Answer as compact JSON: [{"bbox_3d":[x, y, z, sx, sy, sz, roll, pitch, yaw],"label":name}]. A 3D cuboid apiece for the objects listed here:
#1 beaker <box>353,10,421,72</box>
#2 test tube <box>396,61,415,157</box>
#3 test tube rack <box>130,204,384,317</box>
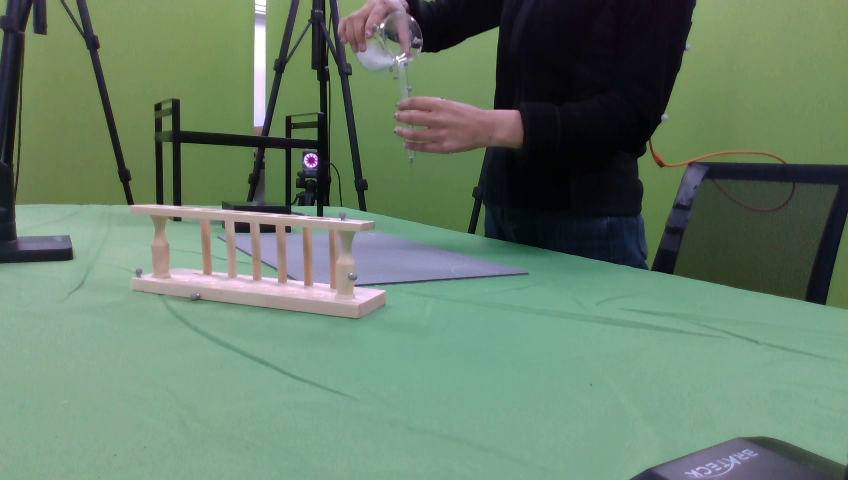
[{"bbox_3d":[-0.063,-0.313,0.975,0.074,0.084,0.100,2,0,-36],"label":"beaker"},{"bbox_3d":[-0.029,-0.202,0.931,0.017,0.150,0.017,-6,-5,0],"label":"test tube"},{"bbox_3d":[-0.163,0.013,0.589,0.242,0.085,0.067,5,8,17],"label":"test tube rack"}]
